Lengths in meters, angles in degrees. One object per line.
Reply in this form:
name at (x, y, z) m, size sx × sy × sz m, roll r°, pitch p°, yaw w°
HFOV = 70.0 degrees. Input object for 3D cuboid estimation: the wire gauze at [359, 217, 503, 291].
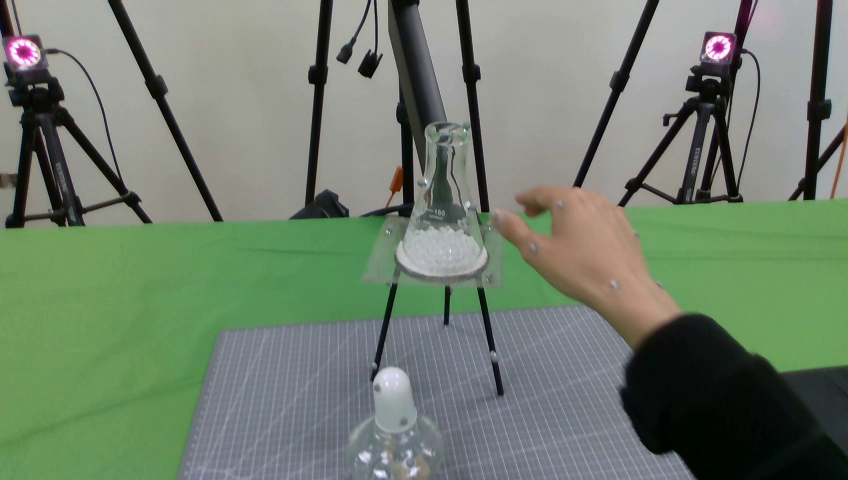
wire gauze at (0.012, 0.013, 0.563) m, size 0.121 × 0.011 × 0.124 m, roll 4°, pitch 31°, yaw 6°

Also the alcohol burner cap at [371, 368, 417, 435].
alcohol burner cap at (-0.024, 0.117, 0.451) m, size 0.034 × 0.048 × 0.033 m, roll -4°, pitch 32°, yaw 3°

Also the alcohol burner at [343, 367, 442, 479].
alcohol burner at (-0.025, 0.148, 0.469) m, size 0.078 × 0.120 × 0.077 m, roll 0°, pitch 27°, yaw 0°

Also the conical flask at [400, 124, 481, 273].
conical flask at (0.016, -0.038, 0.531) m, size 0.075 × 0.123 × 0.074 m, roll 1°, pitch 29°, yaw 0°

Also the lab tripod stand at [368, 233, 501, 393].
lab tripod stand at (0.017, 0.071, 0.594) m, size 0.148 × 0.132 × 0.147 m, roll 3°, pitch 28°, yaw -1°
